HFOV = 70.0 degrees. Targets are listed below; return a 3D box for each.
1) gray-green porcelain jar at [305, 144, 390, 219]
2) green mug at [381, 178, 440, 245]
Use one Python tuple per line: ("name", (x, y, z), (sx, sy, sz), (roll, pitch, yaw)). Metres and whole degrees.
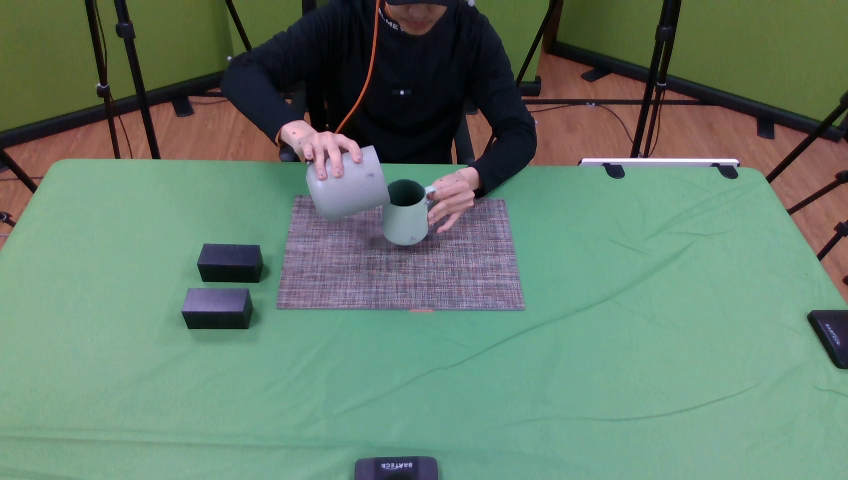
("gray-green porcelain jar", (-0.134, -0.099, 1.053), (0.126, 0.106, 0.105), (-17, 49, -4))
("green mug", (-0.023, -0.060, 1.149), (0.125, 0.105, 0.092), (-29, 53, -25))
